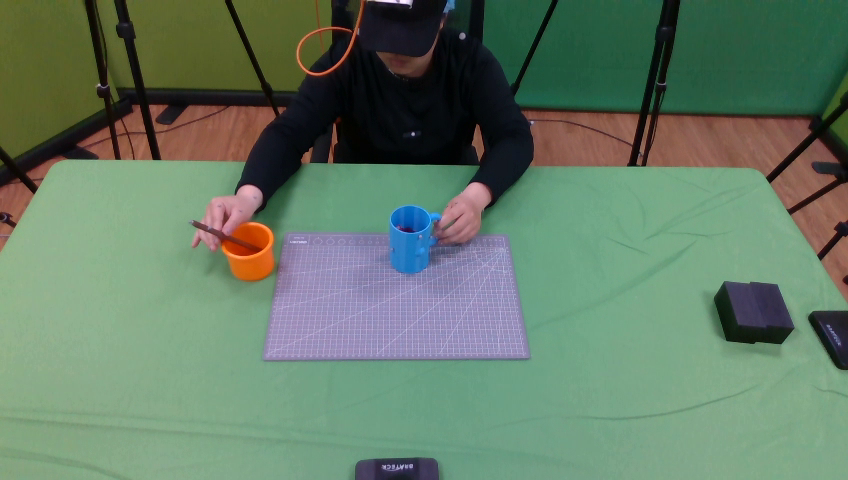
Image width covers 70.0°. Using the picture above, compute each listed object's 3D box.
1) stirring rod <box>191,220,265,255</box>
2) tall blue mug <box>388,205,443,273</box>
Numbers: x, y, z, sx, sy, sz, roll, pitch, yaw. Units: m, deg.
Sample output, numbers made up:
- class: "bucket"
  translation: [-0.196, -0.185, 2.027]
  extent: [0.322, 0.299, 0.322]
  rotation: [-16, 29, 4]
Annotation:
- class: "stirring rod"
  translation: [-0.346, -0.003, 1.082]
  extent: [0.006, 0.177, 0.014]
  rotation: [-42, 58, 10]
- class: "tall blue mug"
  translation: [-0.020, -0.010, 1.144]
  extent: [0.077, 0.108, 0.107]
  rotation: [23, 49, 18]
